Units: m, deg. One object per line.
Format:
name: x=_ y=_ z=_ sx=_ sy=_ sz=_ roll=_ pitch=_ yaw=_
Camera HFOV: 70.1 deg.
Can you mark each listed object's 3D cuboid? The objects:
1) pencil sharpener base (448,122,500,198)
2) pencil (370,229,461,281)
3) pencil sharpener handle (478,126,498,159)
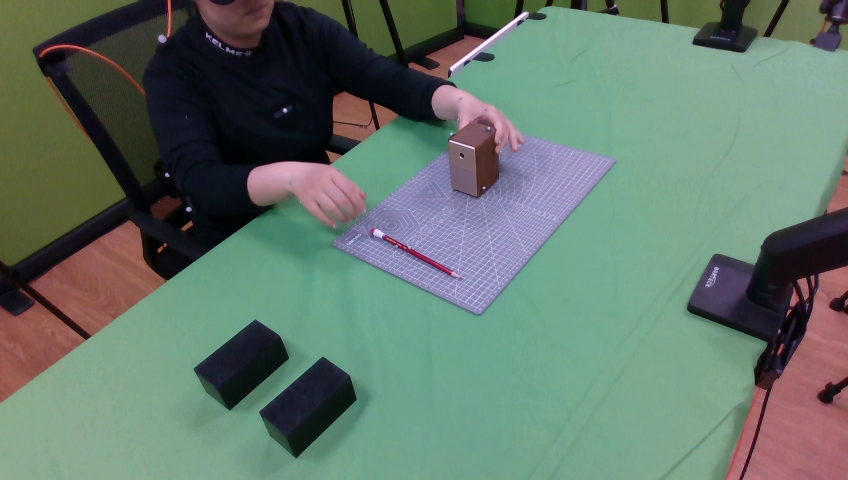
pencil sharpener base: x=0.089 y=-0.140 z=1.052 sx=0.061 sy=0.107 sz=0.077 roll=22 pitch=48 yaw=31
pencil: x=-0.016 y=0.022 z=0.952 sx=0.192 sy=0.012 sz=0.012 roll=28 pitch=51 yaw=33
pencil sharpener handle: x=0.118 y=-0.178 z=1.074 sx=0.035 sy=0.068 sz=0.031 roll=24 pitch=49 yaw=30
